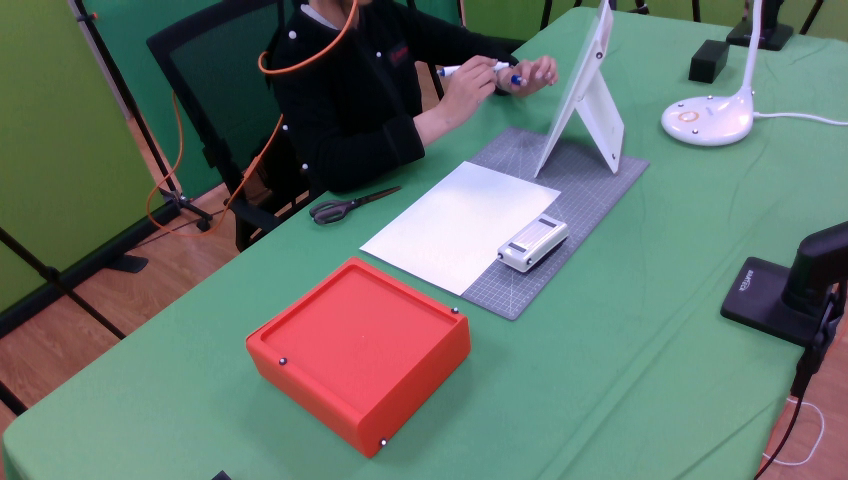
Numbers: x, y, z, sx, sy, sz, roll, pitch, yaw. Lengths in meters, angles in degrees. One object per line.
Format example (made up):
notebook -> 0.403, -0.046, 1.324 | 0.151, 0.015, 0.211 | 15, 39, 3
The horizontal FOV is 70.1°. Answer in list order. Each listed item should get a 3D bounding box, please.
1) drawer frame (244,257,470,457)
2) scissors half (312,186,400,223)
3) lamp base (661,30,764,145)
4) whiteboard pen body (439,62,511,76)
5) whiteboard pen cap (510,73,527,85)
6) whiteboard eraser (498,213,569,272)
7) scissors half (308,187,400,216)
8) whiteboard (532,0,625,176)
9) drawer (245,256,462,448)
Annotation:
drawer frame -> -0.084, 0.138, 0.788 | 0.212, 0.083, 0.202 | 25, 50, 33
scissors half -> -0.118, -0.066, 1.088 | 0.176, 0.013, 0.040 | -25, 38, -24
lamp base -> 0.535, -0.287, 1.096 | 0.179, 0.181, 0.159 | -10, 40, -4
whiteboard pen body -> 0.095, -0.317, 1.114 | 0.141, 0.017, 0.017 | -10, 40, -14
whiteboard pen cap -> 0.182, -0.311, 1.164 | 0.033, 0.018, 0.018 | 4, 29, -38
whiteboard eraser -> 0.168, 0.006, 0.924 | 0.113, 0.042, 0.055 | -36, 48, -28
scissors half -> -0.126, -0.075, 1.104 | 0.176, 0.013, 0.039 | -15, 29, -10
whiteboard -> 0.320, -0.258, 1.050 | 0.144, 0.306, 0.217 | 21, 45, 5
drawer -> -0.089, 0.136, 0.792 | 0.210, 0.073, 0.195 | 26, 51, 34
